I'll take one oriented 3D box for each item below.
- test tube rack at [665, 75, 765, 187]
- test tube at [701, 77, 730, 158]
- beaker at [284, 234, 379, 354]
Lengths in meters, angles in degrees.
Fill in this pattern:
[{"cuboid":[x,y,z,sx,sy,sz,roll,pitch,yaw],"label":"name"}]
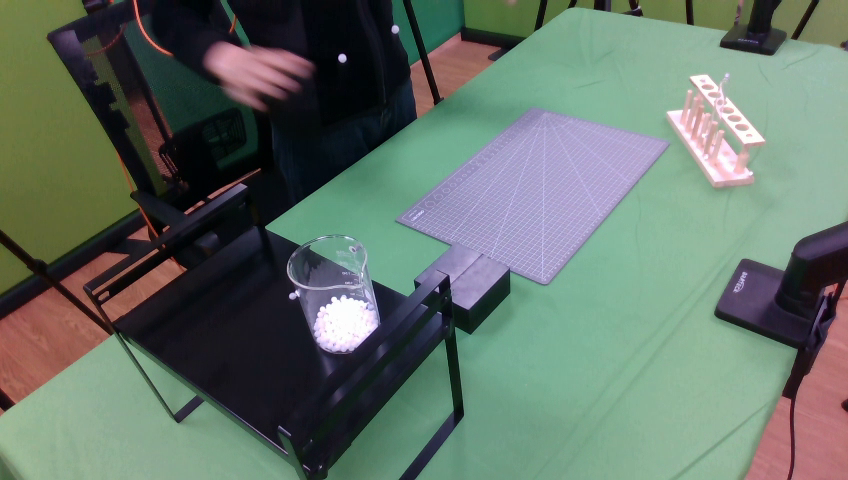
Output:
[{"cuboid":[0.512,-0.201,1.082,0.067,0.085,0.241,-5,41,2],"label":"test tube rack"},{"cuboid":[0.491,-0.204,1.020,0.017,0.151,0.017,-4,41,4],"label":"test tube"},{"cuboid":[-0.083,0.056,0.585,0.083,0.101,0.074,28,52,33],"label":"beaker"}]
